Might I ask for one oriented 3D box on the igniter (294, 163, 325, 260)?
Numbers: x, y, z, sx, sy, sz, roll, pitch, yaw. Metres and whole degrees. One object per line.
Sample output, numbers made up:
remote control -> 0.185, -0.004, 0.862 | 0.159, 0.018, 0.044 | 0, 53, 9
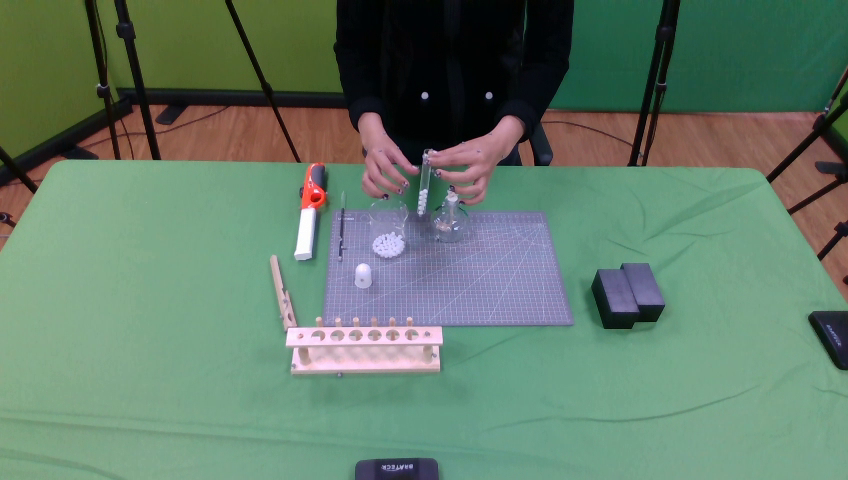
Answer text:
igniter -> -0.234, -0.067, 1.243 | 0.057, 0.025, 0.274 | -6, 46, 4

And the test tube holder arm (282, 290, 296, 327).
test tube holder arm -> -0.241, 0.123, 1.067 | 0.010, 0.015, 0.087 | 15, 34, -40

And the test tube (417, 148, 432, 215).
test tube -> 0.000, -0.097, 1.044 | 0.017, 0.151, 0.017 | 3, 49, -3

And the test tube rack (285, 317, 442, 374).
test tube rack -> -0.095, 0.166, 0.988 | 0.242, 0.085, 0.066 | 0, 46, -4

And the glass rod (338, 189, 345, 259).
glass rod -> -0.166, -0.036, 1.227 | 0.008, 0.008, 0.198 | 0, 46, -4

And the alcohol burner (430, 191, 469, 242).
alcohol burner -> 0.051, -0.053, 1.185 | 0.078, 0.119, 0.077 | 2, 48, -2

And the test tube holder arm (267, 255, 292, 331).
test tube holder arm -> -0.262, 0.091, 1.092 | 0.013, 0.015, 0.177 | 15, 34, -40

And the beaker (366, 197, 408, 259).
beaker -> -0.068, -0.018, 1.153 | 0.074, 0.101, 0.083 | -26, 54, -25

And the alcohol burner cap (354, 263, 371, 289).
alcohol burner cap -> -0.113, 0.063, 1.111 | 0.034, 0.048, 0.033 | 2, 45, -2
